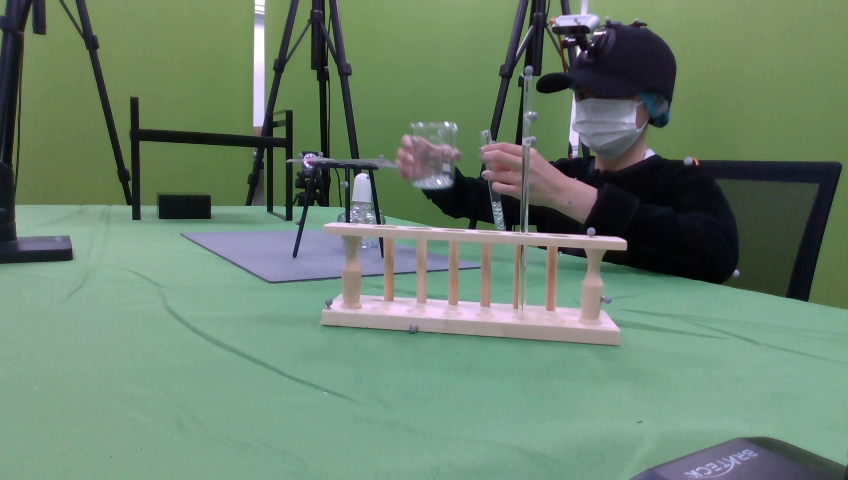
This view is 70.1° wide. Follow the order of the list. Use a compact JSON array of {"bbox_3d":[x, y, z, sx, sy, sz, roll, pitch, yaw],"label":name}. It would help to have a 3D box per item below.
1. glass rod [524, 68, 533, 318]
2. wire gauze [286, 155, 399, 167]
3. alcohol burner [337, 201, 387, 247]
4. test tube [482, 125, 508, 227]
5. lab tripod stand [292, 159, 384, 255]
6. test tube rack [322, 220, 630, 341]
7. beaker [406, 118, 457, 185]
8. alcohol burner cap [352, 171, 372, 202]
[{"bbox_3d":[0.082,-0.031,0.473,0.008,0.199,0.008,-2,14,1],"label":"glass rod"},{"bbox_3d":[-0.101,-0.105,0.788,0.121,0.011,0.125,4,6,6],"label":"wire gauze"},{"bbox_3d":[-0.098,-0.049,0.954,0.078,0.119,0.078,0,7,0],"label":"alcohol burner"},{"bbox_3d":[0.104,-0.093,0.883,0.017,0.150,0.017,-10,6,1],"label":"test tube"},{"bbox_3d":[-0.105,-0.039,0.797,0.148,0.131,0.148,2,5,0],"label":"lab tripod stand"},{"bbox_3d":[0.041,0.029,0.512,0.242,0.085,0.067,3,7,5],"label":"test tube rack"},{"bbox_3d":[0.016,-0.139,0.944,0.083,0.100,0.074,7,16,32],"label":"beaker"},{"bbox_3d":[-0.096,-0.084,0.951,0.034,0.048,0.034,5,5,0],"label":"alcohol burner cap"}]
